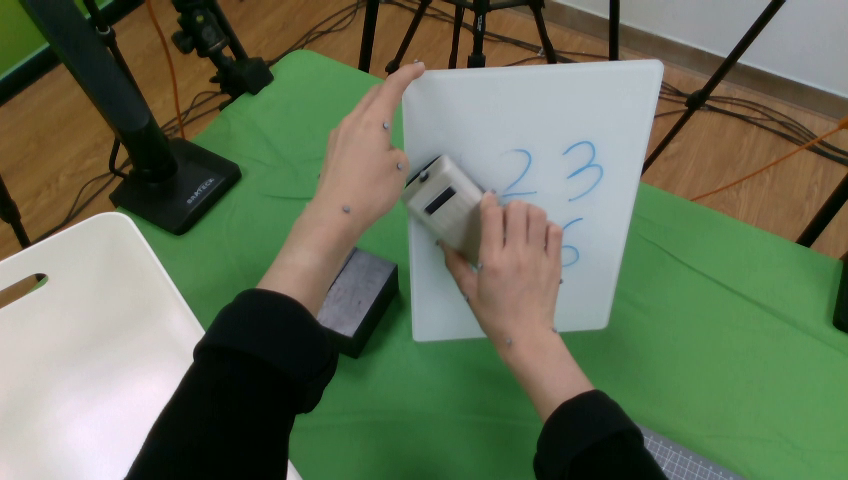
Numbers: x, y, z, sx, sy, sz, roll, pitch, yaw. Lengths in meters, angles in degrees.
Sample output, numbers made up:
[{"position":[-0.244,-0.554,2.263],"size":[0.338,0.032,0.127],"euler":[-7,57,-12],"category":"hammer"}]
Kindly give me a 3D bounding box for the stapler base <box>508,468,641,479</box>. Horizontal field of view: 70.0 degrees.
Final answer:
[{"position":[0.142,0.234,0.561],"size":[0.130,0.024,0.041],"euler":[-5,52,-1],"category":"stapler base"}]

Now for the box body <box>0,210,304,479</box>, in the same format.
[{"position":[-0.271,0.186,0.501],"size":[0.254,0.162,0.361],"euler":[-34,63,-22],"category":"box body"}]

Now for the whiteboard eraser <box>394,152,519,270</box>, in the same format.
[{"position":[0.030,-0.025,0.540],"size":[0.055,0.114,0.041],"euler":[-43,30,13],"category":"whiteboard eraser"}]

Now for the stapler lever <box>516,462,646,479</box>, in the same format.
[{"position":[0.139,0.220,0.541],"size":[0.118,0.040,0.026],"euler":[-5,52,-1],"category":"stapler lever"}]

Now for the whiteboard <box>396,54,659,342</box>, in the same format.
[{"position":[0.083,-0.059,0.628],"size":[0.217,0.308,0.142],"euler":[-3,37,-3],"category":"whiteboard"}]
